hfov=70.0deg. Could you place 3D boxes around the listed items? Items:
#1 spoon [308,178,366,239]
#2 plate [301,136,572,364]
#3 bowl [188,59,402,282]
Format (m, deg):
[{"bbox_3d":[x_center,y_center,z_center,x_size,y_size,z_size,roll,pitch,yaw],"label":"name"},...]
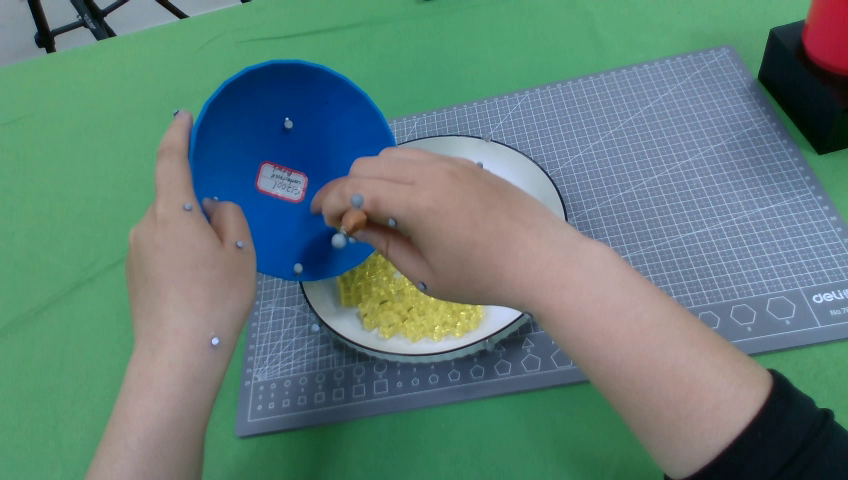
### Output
[{"bbox_3d":[-0.048,-0.018,0.356,0.041,0.022,0.192,-35,16,-5],"label":"spoon"},{"bbox_3d":[0.008,0.005,0.469,0.207,0.039,0.205,-7,53,9],"label":"plate"},{"bbox_3d":[-0.099,-0.046,0.439,0.151,0.152,0.076,-50,25,-23],"label":"bowl"}]
